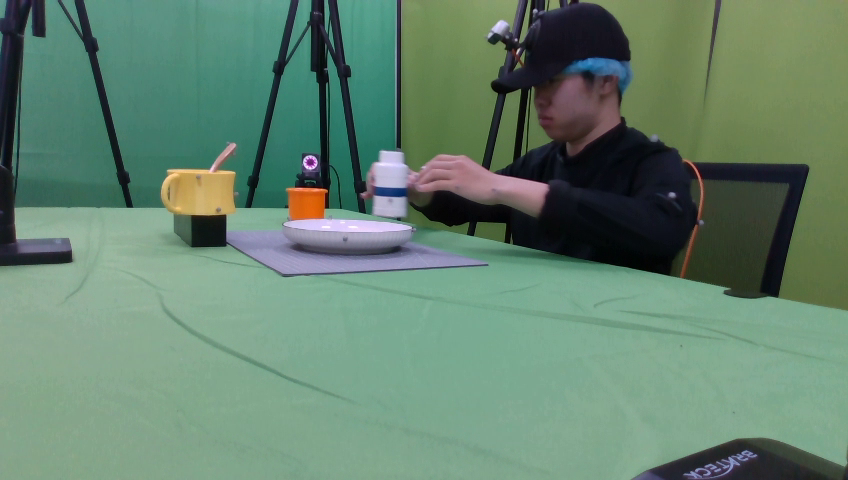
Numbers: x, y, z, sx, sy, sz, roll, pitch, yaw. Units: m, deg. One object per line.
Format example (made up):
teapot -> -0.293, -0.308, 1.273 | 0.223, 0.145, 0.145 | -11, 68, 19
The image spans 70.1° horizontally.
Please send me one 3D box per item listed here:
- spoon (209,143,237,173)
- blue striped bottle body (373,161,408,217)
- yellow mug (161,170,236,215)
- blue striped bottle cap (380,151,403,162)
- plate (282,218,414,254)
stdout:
spoon -> -0.341, -0.113, 0.990 | 0.041, 0.021, 0.193 | 1, 39, 7
blue striped bottle body -> -0.063, -0.105, 1.141 | 0.063, 0.120, 0.063 | 3, 8, 0
yellow mug -> -0.354, -0.074, 0.935 | 0.099, 0.064, 0.131 | 5, 9, 21
blue striped bottle cap -> -0.061, -0.156, 1.135 | 0.044, 0.020, 0.044 | 4, 12, -1
plate -> -0.120, -0.007, 0.971 | 0.208, 0.039, 0.207 | 2, 7, 0
